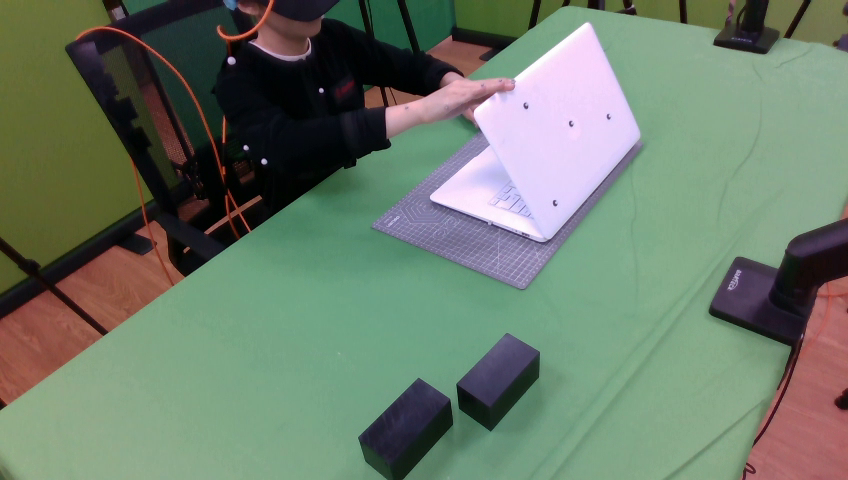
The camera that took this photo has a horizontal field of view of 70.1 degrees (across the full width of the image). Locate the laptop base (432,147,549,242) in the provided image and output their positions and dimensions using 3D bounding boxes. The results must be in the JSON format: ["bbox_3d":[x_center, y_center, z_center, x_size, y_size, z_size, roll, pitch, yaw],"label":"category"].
[{"bbox_3d":[0.208,-0.128,1.098,0.233,0.023,0.355,20,47,34],"label":"laptop base"}]

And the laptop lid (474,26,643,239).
[{"bbox_3d":[0.240,-0.190,1.001,0.358,0.242,0.013,-41,16,-34],"label":"laptop lid"}]
